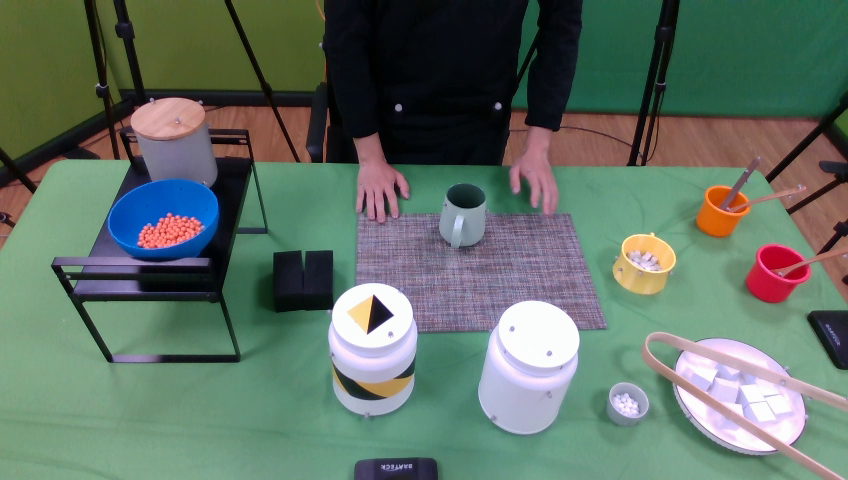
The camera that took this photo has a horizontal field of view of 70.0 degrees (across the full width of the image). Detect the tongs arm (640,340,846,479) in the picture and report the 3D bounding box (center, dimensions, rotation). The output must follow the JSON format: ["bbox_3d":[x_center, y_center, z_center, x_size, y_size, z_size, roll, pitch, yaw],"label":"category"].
[{"bbox_3d":[0.500,0.277,0.919,0.386,0.028,0.028,34,59,22],"label":"tongs arm"}]

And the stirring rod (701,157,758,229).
[{"bbox_3d":[0.634,-0.096,1.257,0.014,0.006,0.176,38,97,30],"label":"stirring rod"}]

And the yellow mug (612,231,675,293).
[{"bbox_3d":[0.424,0.033,1.168,0.100,0.064,0.130,18,47,13],"label":"yellow mug"}]

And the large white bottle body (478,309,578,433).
[{"bbox_3d":[0.156,0.192,0.913,0.131,0.185,0.130,2,46,-2],"label":"large white bottle body"}]

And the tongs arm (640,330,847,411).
[{"bbox_3d":[0.543,0.226,0.969,0.384,0.026,0.050,22,52,13],"label":"tongs arm"}]

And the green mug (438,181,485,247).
[{"bbox_3d":[0.071,-0.040,1.177,0.092,0.105,0.124,12,47,7],"label":"green mug"}]

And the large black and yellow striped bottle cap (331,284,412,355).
[{"bbox_3d":[-0.073,0.110,0.858,0.115,0.019,0.114,2,46,-2],"label":"large black and yellow striped bottle cap"}]

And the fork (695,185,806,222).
[{"bbox_3d":[0.658,-0.074,1.230,0.207,0.019,0.028,-23,36,37],"label":"fork"}]

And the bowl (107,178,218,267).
[{"bbox_3d":[-0.374,-0.014,0.893,0.151,0.077,0.150,2,46,-2],"label":"bowl"}]

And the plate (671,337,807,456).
[{"bbox_3d":[0.503,0.254,0.984,0.208,0.039,0.206,2,46,-2],"label":"plate"}]

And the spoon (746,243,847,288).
[{"bbox_3d":[0.702,0.044,1.126,0.194,0.022,0.041,-29,38,30],"label":"spoon"}]

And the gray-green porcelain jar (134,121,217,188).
[{"bbox_3d":[-0.397,-0.141,0.980,0.106,0.127,0.105,2,47,-2],"label":"gray-green porcelain jar"}]

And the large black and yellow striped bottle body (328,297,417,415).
[{"bbox_3d":[-0.078,0.167,0.920,0.131,0.185,0.130,2,46,-2],"label":"large black and yellow striped bottle body"}]

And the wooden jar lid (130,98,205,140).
[{"bbox_3d":[-0.393,-0.183,0.934,0.108,0.021,0.107,2,44,-2],"label":"wooden jar lid"}]

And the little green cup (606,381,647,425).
[{"bbox_3d":[0.319,0.261,0.962,0.061,0.039,0.061,2,45,-2],"label":"little green cup"}]

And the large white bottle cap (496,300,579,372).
[{"bbox_3d":[0.160,0.133,0.853,0.115,0.018,0.114,3,46,-2],"label":"large white bottle cap"}]
